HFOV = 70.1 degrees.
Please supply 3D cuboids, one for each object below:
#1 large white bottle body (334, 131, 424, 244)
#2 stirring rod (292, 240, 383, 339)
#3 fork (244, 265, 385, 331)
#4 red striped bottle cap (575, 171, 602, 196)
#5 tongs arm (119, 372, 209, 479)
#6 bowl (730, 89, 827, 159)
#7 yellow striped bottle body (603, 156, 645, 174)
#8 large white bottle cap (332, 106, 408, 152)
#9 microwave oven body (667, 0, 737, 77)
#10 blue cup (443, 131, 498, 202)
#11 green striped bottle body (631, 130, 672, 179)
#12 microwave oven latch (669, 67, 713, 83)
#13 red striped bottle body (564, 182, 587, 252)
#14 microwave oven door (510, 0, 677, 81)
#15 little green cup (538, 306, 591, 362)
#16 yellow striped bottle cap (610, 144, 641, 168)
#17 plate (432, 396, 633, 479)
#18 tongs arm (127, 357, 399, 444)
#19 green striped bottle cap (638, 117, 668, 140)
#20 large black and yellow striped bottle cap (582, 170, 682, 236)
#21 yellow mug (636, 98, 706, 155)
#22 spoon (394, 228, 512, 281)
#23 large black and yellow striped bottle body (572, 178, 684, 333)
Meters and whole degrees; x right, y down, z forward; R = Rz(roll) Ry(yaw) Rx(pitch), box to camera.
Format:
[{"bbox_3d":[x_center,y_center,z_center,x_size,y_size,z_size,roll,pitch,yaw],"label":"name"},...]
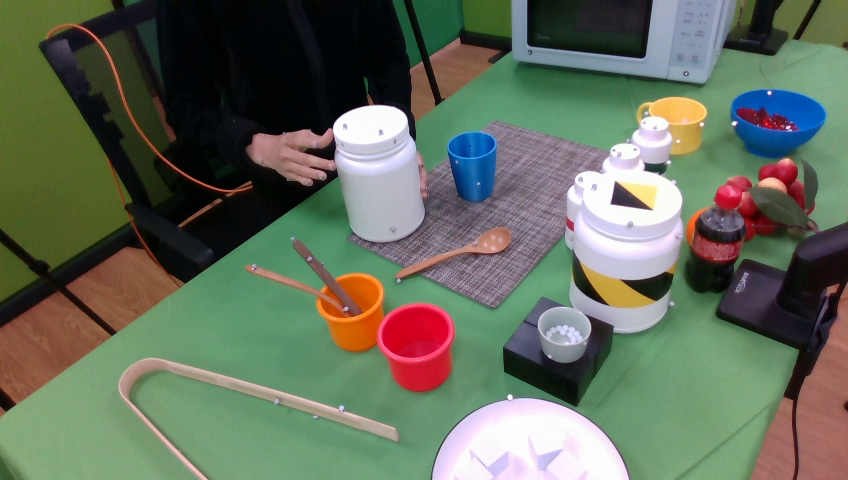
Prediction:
[{"bbox_3d":[-0.072,-0.101,0.974,0.130,0.185,0.130,-4,40,4],"label":"large white bottle body"},{"bbox_3d":[-0.118,0.068,0.825,0.176,0.006,0.014,48,59,-3],"label":"stirring rod"},{"bbox_3d":[-0.142,0.078,0.806,0.209,0.018,0.028,30,33,-23],"label":"fork"},{"bbox_3d":[0.242,-0.081,0.876,0.044,0.018,0.044,-5,44,5],"label":"red striped bottle cap"},{"bbox_3d":[-0.258,0.257,0.700,0.384,0.028,0.028,24,55,34],"label":"tongs arm"},{"bbox_3d":[0.615,-0.197,1.069,0.151,0.077,0.150,-5,40,5],"label":"bowl"},{"bbox_3d":[0.313,-0.089,0.956,0.063,0.121,0.062,-4,40,4],"label":"yellow striped bottle body"},{"bbox_3d":[-0.082,-0.169,0.918,0.115,0.018,0.114,-4,40,4],"label":"large white bottle cap"},{"bbox_3d":[0.462,-0.552,1.368,0.439,0.261,0.326,15,45,26],"label":"microwave oven body"},{"bbox_3d":[0.087,-0.122,1.040,0.092,0.101,0.092,-5,42,5],"label":"blue cup"},{"bbox_3d":[0.375,-0.140,1.007,0.063,0.120,0.063,-5,40,5],"label":"green striped bottle body"},{"bbox_3d":[0.556,-0.349,1.261,0.078,0.029,0.030,16,46,27],"label":"microwave oven latch"},{"bbox_3d":[0.247,-0.041,0.910,0.063,0.120,0.062,-2,38,2],"label":"red striped bottle body"},{"bbox_3d":[0.354,-0.478,1.290,0.353,0.245,0.039,15,45,25],"label":"microwave oven door"},{"bbox_3d":[0.167,0.114,0.721,0.061,0.039,0.061,-4,44,5],"label":"little green cup"},{"bbox_3d":[0.307,-0.128,0.923,0.044,0.019,0.044,-5,40,5],"label":"yellow striped bottle cap"},{"bbox_3d":[0.112,0.261,0.634,0.209,0.038,0.208,-5,40,4],"label":"plate"},{"bbox_3d":[-0.213,0.205,0.755,0.382,0.026,0.051,12,46,23],"label":"tongs arm"},{"bbox_3d":[0.369,-0.180,0.974,0.044,0.020,0.044,-4,41,4],"label":"green striped bottle cap"},{"bbox_3d":[0.252,-0.048,0.735,0.115,0.019,0.114,-3,40,3],"label":"large black and yellow striped bottle cap"},{"bbox_3d":[0.453,-0.217,1.128,0.100,0.064,0.129,-34,46,-27],"label":"yellow mug"},{"bbox_3d":[0.045,0.024,0.935,0.194,0.022,0.041,-18,66,-11],"label":"spoon"},{"bbox_3d":[0.262,0.017,0.788,0.131,0.185,0.130,-5,40,4],"label":"large black and yellow striped bottle body"}]
